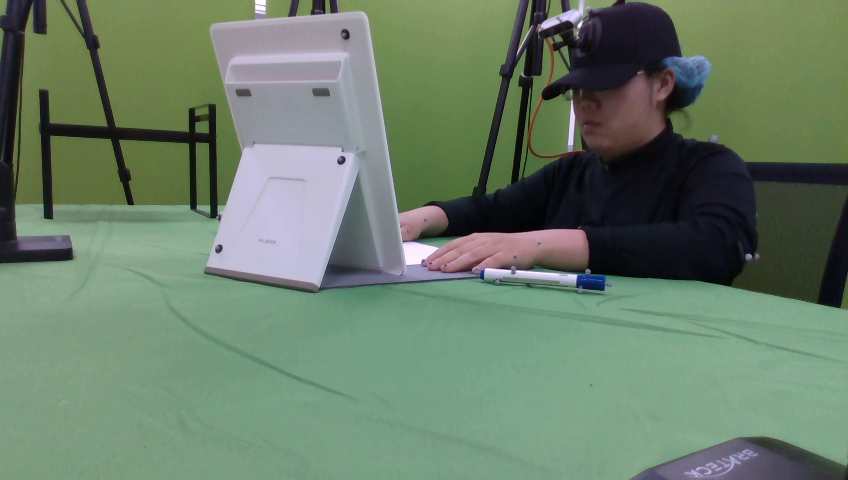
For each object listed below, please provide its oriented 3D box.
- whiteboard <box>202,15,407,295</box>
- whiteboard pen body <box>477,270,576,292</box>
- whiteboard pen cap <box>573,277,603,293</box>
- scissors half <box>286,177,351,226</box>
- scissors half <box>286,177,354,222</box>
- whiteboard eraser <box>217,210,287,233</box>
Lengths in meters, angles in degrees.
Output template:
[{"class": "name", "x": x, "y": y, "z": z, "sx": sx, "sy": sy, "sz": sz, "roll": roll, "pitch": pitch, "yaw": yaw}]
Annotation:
[{"class": "whiteboard", "x": -0.167, "y": -0.073, "z": 0.668, "sx": 0.216, "sy": 0.305, "sz": 0.144, "roll": 7, "pitch": 30, "yaw": 28}, {"class": "whiteboard pen body", "x": 0.131, "y": 0.048, "z": 0.707, "sx": 0.140, "sy": 0.017, "sz": 0.017, "roll": 4, "pitch": 8, "yaw": 17}, {"class": "whiteboard pen cap", "x": 0.186, "y": 0.051, "z": 0.687, "sx": 0.033, "sy": 0.018, "sz": 0.018, "roll": 4, "pitch": 8, "yaw": 17}, {"class": "scissors half", "x": -0.232, "y": -0.085, "z": 1.318, "sx": 0.175, "sy": 0.013, "sz": 0.040, "roll": 37, "pitch": 20, "yaw": 4}, {"class": "scissors half", "x": -0.229, "y": -0.091, "z": 1.337, "sx": 0.175, "sy": 0.013, "sz": 0.040, "roll": 33, "pitch": 15, "yaw": -13}, {"class": "whiteboard eraser", "x": -0.310, "y": -0.034, "z": 1.094, "sx": 0.113, "sy": 0.042, "sz": 0.055, "roll": -2, "pitch": 11, "yaw": -38}]
